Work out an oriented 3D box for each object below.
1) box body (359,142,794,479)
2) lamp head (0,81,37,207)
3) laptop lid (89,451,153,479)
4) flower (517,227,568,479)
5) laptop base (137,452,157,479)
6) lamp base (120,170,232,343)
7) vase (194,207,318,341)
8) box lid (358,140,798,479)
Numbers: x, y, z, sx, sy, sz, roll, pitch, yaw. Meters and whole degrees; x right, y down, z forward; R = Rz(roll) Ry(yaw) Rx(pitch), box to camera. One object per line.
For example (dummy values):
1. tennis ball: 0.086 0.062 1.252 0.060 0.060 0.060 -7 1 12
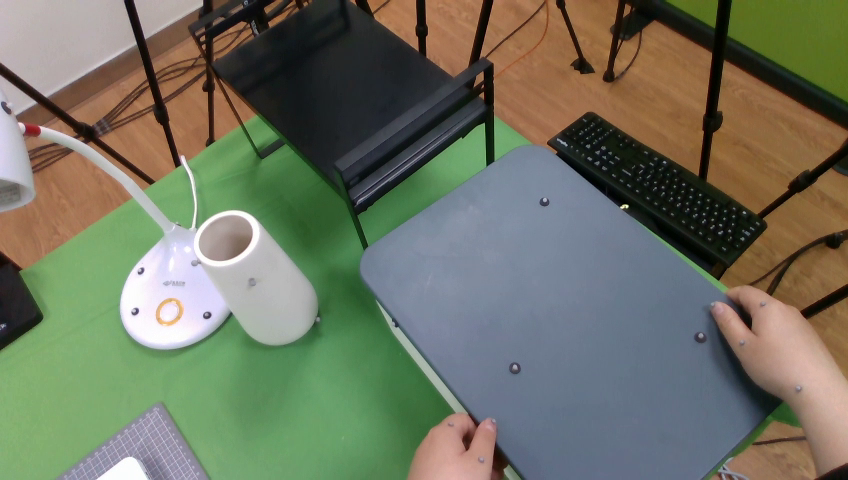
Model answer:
1. box body: 0.140 0.105 0.652 0.254 0.162 0.360 -36 62 -14
2. lamp head: -0.364 -0.089 0.463 0.112 0.113 0.122 -11 77 0
3. laptop lid: -0.391 0.414 0.600 0.356 0.013 0.239 -37 65 -14
4. flower: 0.146 0.145 0.702 0.044 0.038 0.358 -19 56 28
5. laptop base: -0.391 0.418 0.611 0.354 0.023 0.233 -38 66 -16
6. lamp base: -0.334 0.013 0.749 0.160 0.182 0.177 -8 56 1
7. vase: -0.193 0.043 0.705 0.098 0.202 0.097 -4 59 7
8. box lid: 0.131 0.066 0.588 0.263 0.015 0.368 -35 62 -15
